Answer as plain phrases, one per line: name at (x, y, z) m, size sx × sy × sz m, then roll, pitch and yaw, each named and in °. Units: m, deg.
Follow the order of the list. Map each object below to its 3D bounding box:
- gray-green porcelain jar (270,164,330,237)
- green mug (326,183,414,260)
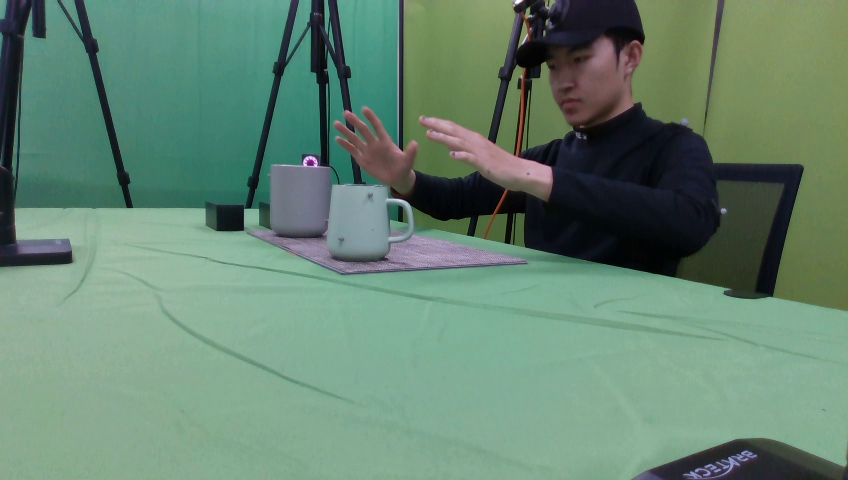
gray-green porcelain jar at (-0.223, -0.072, 1.089) m, size 0.106 × 0.126 × 0.106 m, roll 2°, pitch 8°, yaw 0°
green mug at (-0.076, -0.027, 0.858) m, size 0.125 × 0.105 × 0.092 m, roll 3°, pitch 7°, yaw 8°
